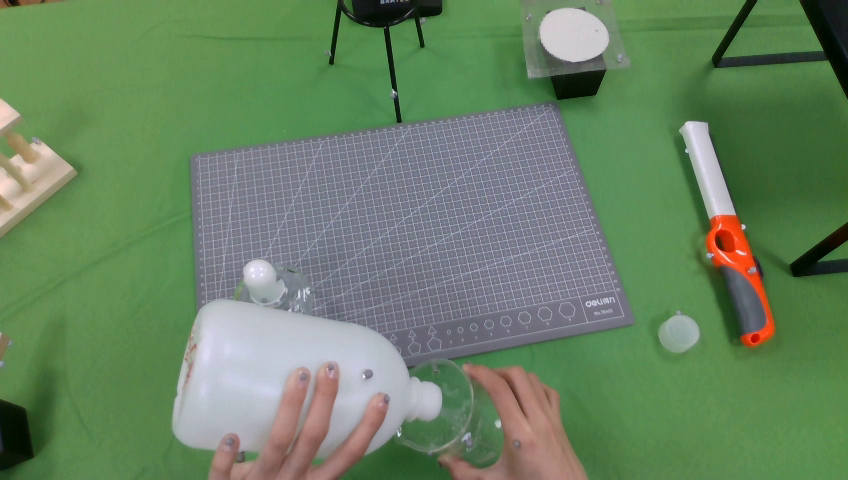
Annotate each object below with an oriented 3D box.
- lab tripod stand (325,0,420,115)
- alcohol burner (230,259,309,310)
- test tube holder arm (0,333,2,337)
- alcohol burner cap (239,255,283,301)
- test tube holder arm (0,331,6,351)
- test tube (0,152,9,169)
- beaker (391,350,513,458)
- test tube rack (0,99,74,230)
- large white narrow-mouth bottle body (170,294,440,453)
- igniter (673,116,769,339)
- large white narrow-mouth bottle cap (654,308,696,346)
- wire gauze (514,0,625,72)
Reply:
[{"bbox_3d":[-0.053,-0.243,0.714,0.148,0.132,0.147,1,66,-3],"label":"lab tripod stand"},{"bbox_3d":[-0.152,0.048,0.585,0.078,0.120,0.077,2,63,-3],"label":"alcohol burner"},{"bbox_3d":[-0.407,0.124,0.548,0.010,0.015,0.087,-3,63,11],"label":"test tube holder arm"},{"bbox_3d":[-0.151,0.033,0.553,0.034,0.048,0.033,-1,60,2],"label":"alcohol burner cap"},{"bbox_3d":[-0.402,0.164,0.527,0.013,0.015,0.177,-4,63,10],"label":"test tube holder arm"},{"bbox_3d":[-0.474,-0.117,0.614,0.017,0.151,0.017,-1,64,2],"label":"test tube"},{"bbox_3d":[0.026,0.149,0.525,0.084,0.101,0.073,-43,51,6],"label":"beaker"},{"bbox_3d":[-0.504,-0.033,0.630,0.066,0.086,0.242,36,69,14],"label":"test tube rack"},{"bbox_3d":[-0.078,0.106,0.455,0.196,0.102,0.101,15,62,-25],"label":"large white narrow-mouth bottle body"},{"bbox_3d":[0.332,-0.022,0.683,0.057,0.025,0.274,0,65,-13],"label":"igniter"},{"bbox_3d":[0.261,0.091,0.634,0.038,0.024,0.037,1,65,-1],"label":"large white narrow-mouth bottle cap"},{"bbox_3d":[0.175,-0.259,0.743,0.121,0.011,0.124,-3,65,-3],"label":"wire gauze"}]
